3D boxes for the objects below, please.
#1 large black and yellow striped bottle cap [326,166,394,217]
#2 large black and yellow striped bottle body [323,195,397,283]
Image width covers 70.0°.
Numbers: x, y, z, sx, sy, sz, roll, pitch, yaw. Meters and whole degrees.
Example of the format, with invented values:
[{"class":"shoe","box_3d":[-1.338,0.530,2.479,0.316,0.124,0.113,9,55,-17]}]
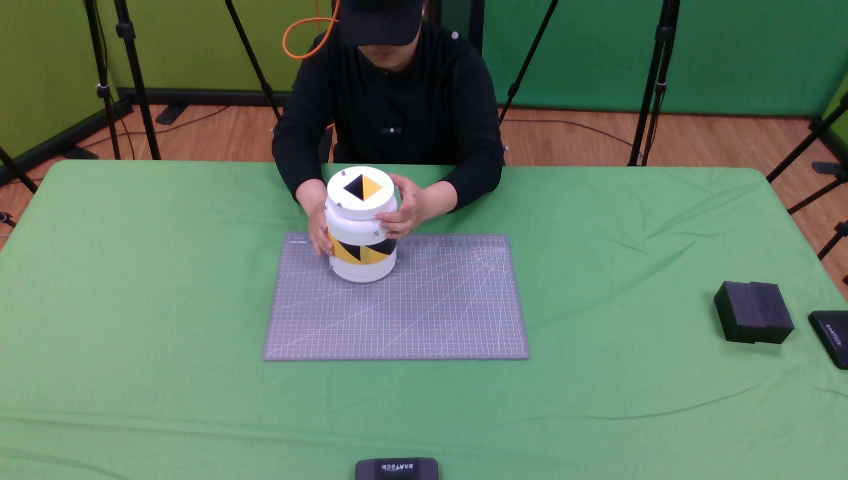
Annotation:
[{"class":"large black and yellow striped bottle cap","box_3d":[-0.110,-0.085,1.039,0.115,0.019,0.114,3,47,-3]},{"class":"large black and yellow striped bottle body","box_3d":[-0.114,-0.026,1.099,0.131,0.185,0.130,2,46,-2]}]
